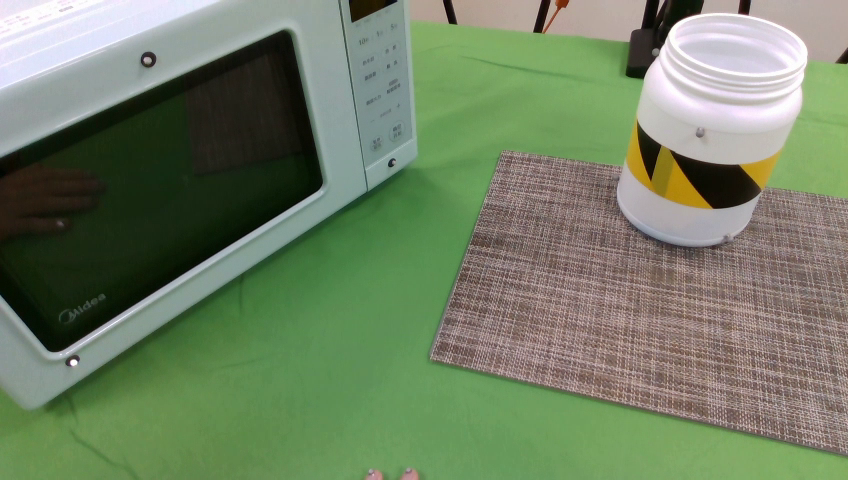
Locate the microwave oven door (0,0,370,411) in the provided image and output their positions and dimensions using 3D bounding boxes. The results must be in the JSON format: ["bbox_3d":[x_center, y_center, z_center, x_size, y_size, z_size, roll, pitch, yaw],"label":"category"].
[{"bbox_3d":[-0.198,-0.048,0.478,0.039,0.246,0.355,33,56,31],"label":"microwave oven door"}]

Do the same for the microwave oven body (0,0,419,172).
[{"bbox_3d":[-0.273,-0.135,0.575,0.323,0.262,0.441,34,57,30],"label":"microwave oven body"}]

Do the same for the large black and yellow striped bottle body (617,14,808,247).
[{"bbox_3d":[0.262,-0.098,0.562,0.131,0.186,0.129,-1,45,2],"label":"large black and yellow striped bottle body"}]

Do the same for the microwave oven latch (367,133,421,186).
[{"bbox_3d":[-0.038,-0.091,0.656,0.079,0.030,0.030,-36,54,-27],"label":"microwave oven latch"}]
